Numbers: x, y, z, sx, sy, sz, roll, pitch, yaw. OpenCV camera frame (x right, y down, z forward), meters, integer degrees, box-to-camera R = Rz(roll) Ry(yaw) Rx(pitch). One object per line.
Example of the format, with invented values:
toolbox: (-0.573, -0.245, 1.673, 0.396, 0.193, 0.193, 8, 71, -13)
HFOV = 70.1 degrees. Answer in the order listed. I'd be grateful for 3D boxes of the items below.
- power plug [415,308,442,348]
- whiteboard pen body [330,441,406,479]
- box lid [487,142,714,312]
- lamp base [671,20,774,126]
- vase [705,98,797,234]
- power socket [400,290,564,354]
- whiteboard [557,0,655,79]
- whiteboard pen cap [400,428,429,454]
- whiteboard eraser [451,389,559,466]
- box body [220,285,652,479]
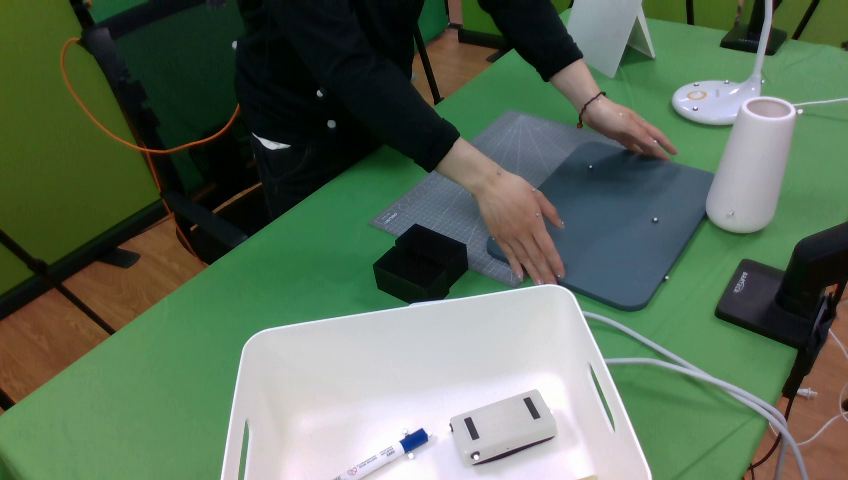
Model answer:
power plug: (0.004, 0.121, 0.786, 0.035, 0.053, 0.072, 1, 46, 8)
whiteboard pen body: (-0.063, 0.254, 0.677, 0.141, 0.017, 0.017, -23, 43, -22)
box lid: (0.298, -0.041, 0.986, 0.261, 0.015, 0.372, 23, 49, 30)
lamp base: (0.581, -0.332, 1.154, 0.179, 0.181, 0.160, 2, 42, 7)
vase: (0.480, -0.104, 0.888, 0.098, 0.201, 0.097, -4, 42, 4)
power socket: (0.079, 0.111, 0.823, 0.227, 0.033, 0.072, -6, 41, 1)
whiteboard: (0.462, -0.542, 1.367, 0.145, 0.306, 0.215, -3, 36, -25)
whiteboard pen cap: (-0.012, 0.232, 0.695, 0.033, 0.018, 0.018, -24, 43, -20)
whiteboard eraser: (0.090, 0.213, 0.682, 0.113, 0.042, 0.055, -17, 39, -8)
box body: (0.005, 0.211, 0.616, 0.364, 0.161, 0.252, -9, 40, -2)
